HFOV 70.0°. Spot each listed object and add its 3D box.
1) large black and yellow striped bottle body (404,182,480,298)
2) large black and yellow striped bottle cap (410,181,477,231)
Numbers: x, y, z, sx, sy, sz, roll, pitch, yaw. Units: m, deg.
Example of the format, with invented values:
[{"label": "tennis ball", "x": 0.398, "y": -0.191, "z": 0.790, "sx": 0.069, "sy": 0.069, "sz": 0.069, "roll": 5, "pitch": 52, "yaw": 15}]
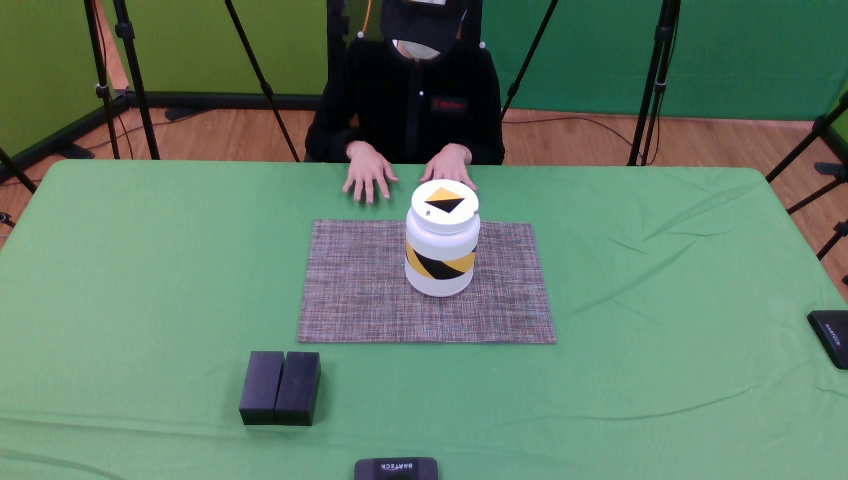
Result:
[{"label": "large black and yellow striped bottle body", "x": 0.030, "y": -0.001, "z": 1.083, "sx": 0.131, "sy": 0.185, "sz": 0.130, "roll": 2, "pitch": 46, "yaw": -2}, {"label": "large black and yellow striped bottle cap", "x": 0.033, "y": -0.059, "z": 1.023, "sx": 0.115, "sy": 0.019, "sz": 0.114, "roll": 3, "pitch": 44, "yaw": -2}]
